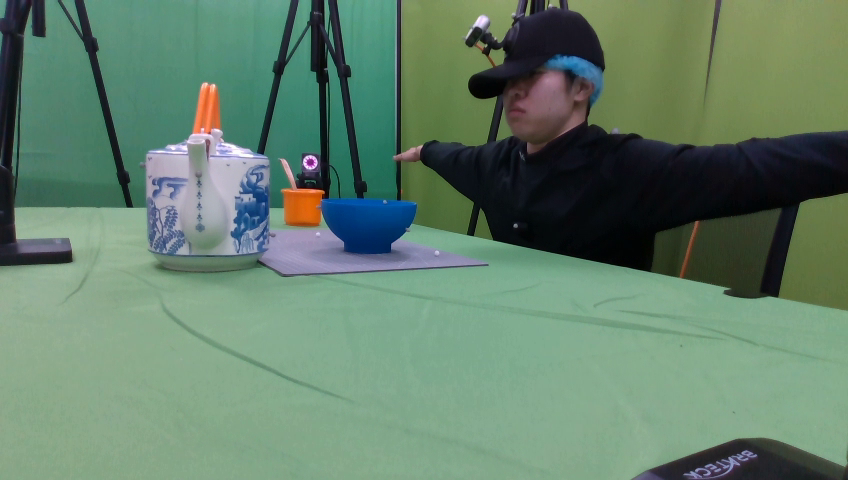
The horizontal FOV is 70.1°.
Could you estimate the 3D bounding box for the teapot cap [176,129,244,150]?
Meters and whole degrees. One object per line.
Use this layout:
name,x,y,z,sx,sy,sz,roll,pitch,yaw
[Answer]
teapot cap,-0.268,-0.117,0.760,0.085,0.044,0.085,4,9,0

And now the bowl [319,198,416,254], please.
bowl,-0.089,-0.022,0.941,0.151,0.077,0.151,2,7,0

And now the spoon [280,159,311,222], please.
spoon,-0.285,-0.111,1.320,0.042,0.193,0.021,-3,-35,-31

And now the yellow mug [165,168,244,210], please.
yellow mug,-0.370,-0.086,1.027,0.131,0.064,0.100,5,7,4

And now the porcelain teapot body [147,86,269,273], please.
porcelain teapot body,-0.263,-0.074,0.738,0.146,0.225,0.204,1,8,-16
